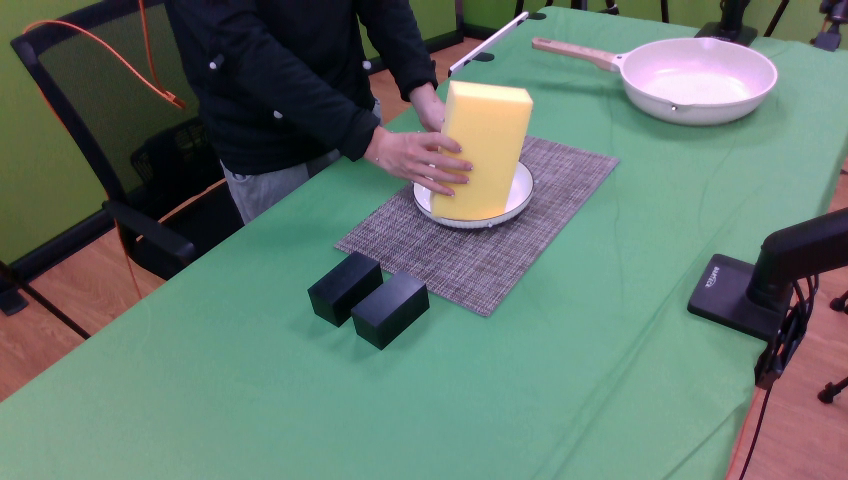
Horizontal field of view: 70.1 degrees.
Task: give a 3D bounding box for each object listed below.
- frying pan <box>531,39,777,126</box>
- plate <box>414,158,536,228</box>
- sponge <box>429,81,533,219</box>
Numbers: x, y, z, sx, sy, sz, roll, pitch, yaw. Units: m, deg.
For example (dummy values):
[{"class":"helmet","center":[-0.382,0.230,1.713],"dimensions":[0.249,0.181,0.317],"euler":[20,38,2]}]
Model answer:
[{"class":"frying pan","center":[0.452,-0.354,1.254],"dimensions":[0.485,0.103,0.307],"euler":[22,47,19]},{"class":"plate","center":[0.087,-0.085,1.038],"dimensions":[0.207,0.039,0.206],"euler":[-4,41,4]},{"class":"sponge","center":[0.082,-0.132,0.937],"dimensions":[0.118,0.207,0.060],"euler":[5,34,-9]}]
